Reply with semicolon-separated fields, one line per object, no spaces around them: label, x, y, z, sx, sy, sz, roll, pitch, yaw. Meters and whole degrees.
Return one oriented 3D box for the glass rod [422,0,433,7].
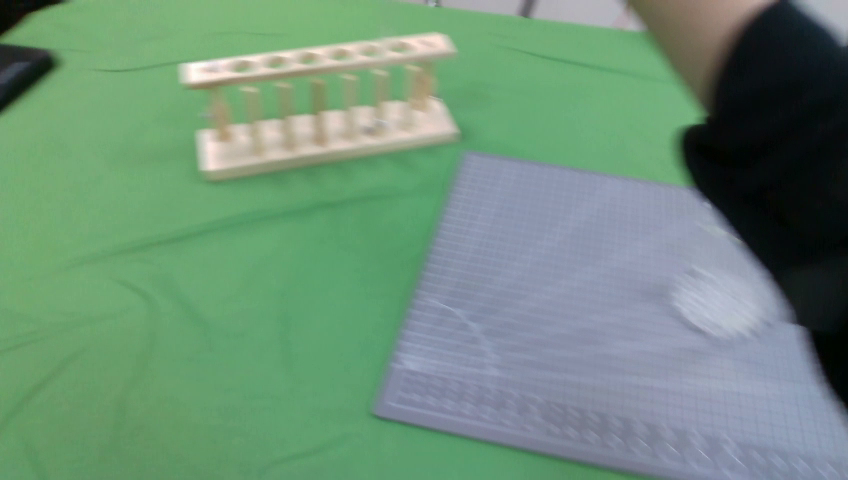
glass rod;0.015;-0.197;0.282;0.008;0.201;0.008;4;57;-6

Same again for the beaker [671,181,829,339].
beaker;0.227;0.019;0.442;0.084;0.101;0.073;-2;46;-4

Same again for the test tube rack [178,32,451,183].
test tube rack;-0.096;-0.129;0.580;0.243;0.086;0.066;-12;48;-14

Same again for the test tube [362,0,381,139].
test tube;-0.047;-0.157;0.546;0.017;0.151;0.017;3;44;-2
